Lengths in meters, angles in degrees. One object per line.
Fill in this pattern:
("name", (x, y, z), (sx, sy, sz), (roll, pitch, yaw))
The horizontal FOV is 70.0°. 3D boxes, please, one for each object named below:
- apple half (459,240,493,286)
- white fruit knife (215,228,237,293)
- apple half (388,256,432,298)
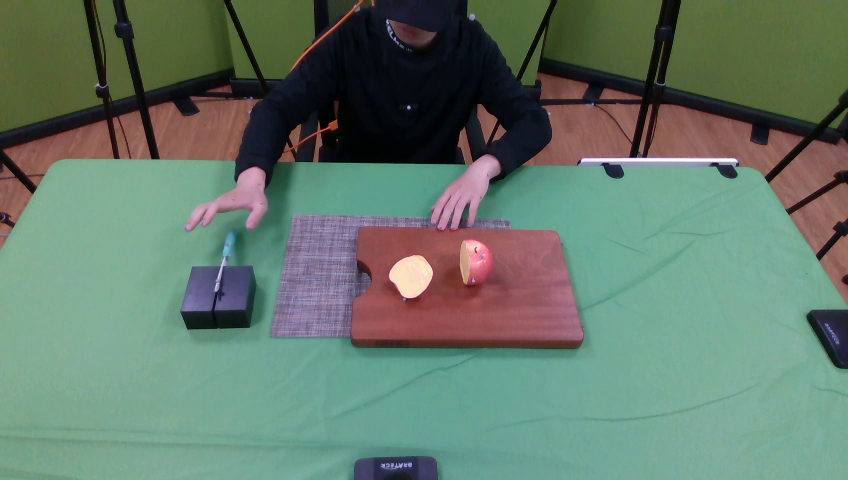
("apple half", (0.096, 0.042, 1.093), (0.053, 0.075, 0.080), (-1, 42, -10))
("white fruit knife", (-0.360, 0.033, 1.101), (0.016, 0.027, 0.206), (1, 31, -9))
("apple half", (-0.019, 0.069, 1.080), (0.081, 0.033, 0.081), (-6, 62, 12))
